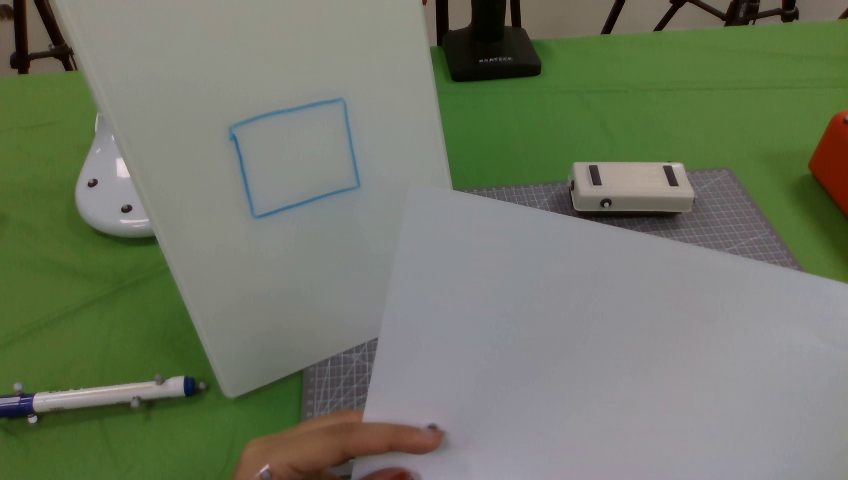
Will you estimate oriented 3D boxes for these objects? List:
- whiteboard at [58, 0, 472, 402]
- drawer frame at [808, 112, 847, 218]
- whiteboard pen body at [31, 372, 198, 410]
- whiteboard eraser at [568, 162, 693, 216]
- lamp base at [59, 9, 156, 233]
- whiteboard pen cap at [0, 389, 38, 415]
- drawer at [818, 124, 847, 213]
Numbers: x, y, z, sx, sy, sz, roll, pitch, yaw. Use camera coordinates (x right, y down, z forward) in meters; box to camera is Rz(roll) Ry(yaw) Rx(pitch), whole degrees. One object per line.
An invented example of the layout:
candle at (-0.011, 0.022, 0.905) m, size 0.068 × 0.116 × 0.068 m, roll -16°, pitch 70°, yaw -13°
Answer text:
whiteboard at (-0.107, -0.068, 0.485) m, size 0.217 × 0.308 × 0.142 m, roll -20°, pitch 29°, yaw -17°
drawer frame at (0.511, -0.032, 0.556) m, size 0.202 × 0.083 × 0.211 m, roll -4°, pitch 44°, yaw -2°
whiteboard pen body at (-0.246, 0.116, 0.461) m, size 0.141 × 0.017 × 0.017 m, roll -5°, pitch 45°, yaw -9°
whiteboard eraser at (0.203, -0.050, 0.603) m, size 0.113 × 0.042 × 0.055 m, roll 0°, pitch 44°, yaw 1°
lamp base at (-0.291, -0.124, 0.590) m, size 0.178 × 0.182 × 0.160 m, roll 25°, pitch 50°, yaw 27°
whiteboard pen cap at (-0.305, 0.121, 0.453) m, size 0.033 × 0.018 × 0.018 m, roll -3°, pitch 45°, yaw -11°
drawer at (0.512, -0.027, 0.552) m, size 0.194 × 0.074 × 0.209 m, roll -3°, pitch 44°, yaw -1°
